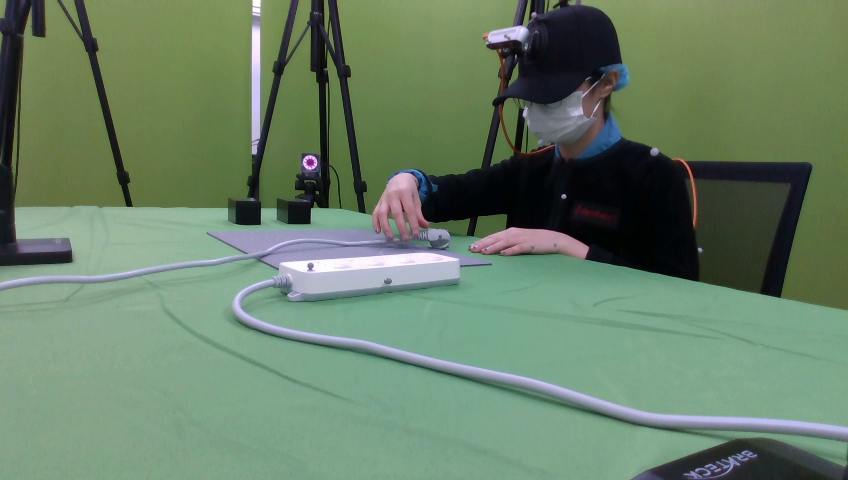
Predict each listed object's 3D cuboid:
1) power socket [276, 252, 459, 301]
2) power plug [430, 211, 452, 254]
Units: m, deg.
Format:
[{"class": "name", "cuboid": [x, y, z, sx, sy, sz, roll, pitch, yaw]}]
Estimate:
[{"class": "power socket", "cuboid": [-0.056, 0.037, 0.674, 0.228, 0.032, 0.072, -3, 8, -38]}, {"class": "power plug", "cuboid": [0.024, -0.012, 0.983, 0.035, 0.073, 0.052, 14, 55, 19]}]
